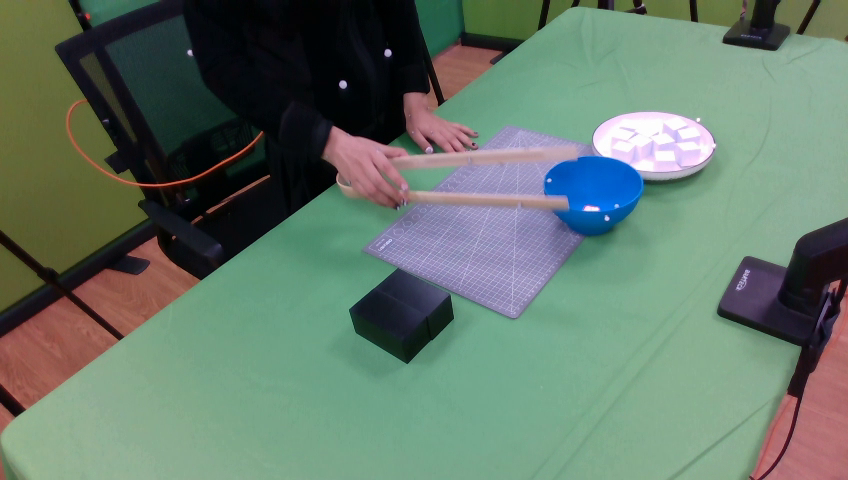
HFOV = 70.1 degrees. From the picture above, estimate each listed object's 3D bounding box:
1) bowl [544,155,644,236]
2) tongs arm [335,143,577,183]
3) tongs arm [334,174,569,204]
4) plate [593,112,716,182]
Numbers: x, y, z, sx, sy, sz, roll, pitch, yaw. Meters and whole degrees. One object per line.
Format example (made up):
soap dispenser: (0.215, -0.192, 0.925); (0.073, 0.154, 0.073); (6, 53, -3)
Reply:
bowl: (0.266, -0.061, 0.957); (0.151, 0.077, 0.150); (-5, 41, 5)
tongs arm: (0.041, -0.119, 0.949); (0.383, 0.027, 0.050); (0, 52, 20)
tongs arm: (0.027, -0.076, 0.916); (0.385, 0.028, 0.028); (5, 57, 24)
plate: (0.408, -0.163, 1.084); (0.207, 0.039, 0.206); (-4, 40, 4)
